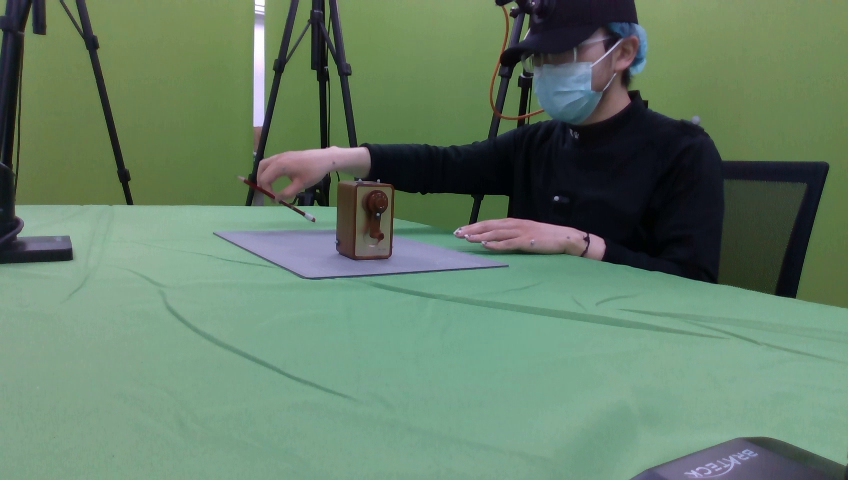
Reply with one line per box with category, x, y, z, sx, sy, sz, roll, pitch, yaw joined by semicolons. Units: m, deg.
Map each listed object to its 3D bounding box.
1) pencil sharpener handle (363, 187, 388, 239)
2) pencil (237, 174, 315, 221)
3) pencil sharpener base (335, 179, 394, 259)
pencil sharpener handle;-0.061;-0.035;0.809;0.036;0.067;0.030;4;6;-29
pencil;-0.275;-0.079;1.140;0.012;0.012;0.195;9;-17;39
pencil sharpener base;-0.084;-0.030;0.855;0.061;0.107;0.076;-1;8;-28
